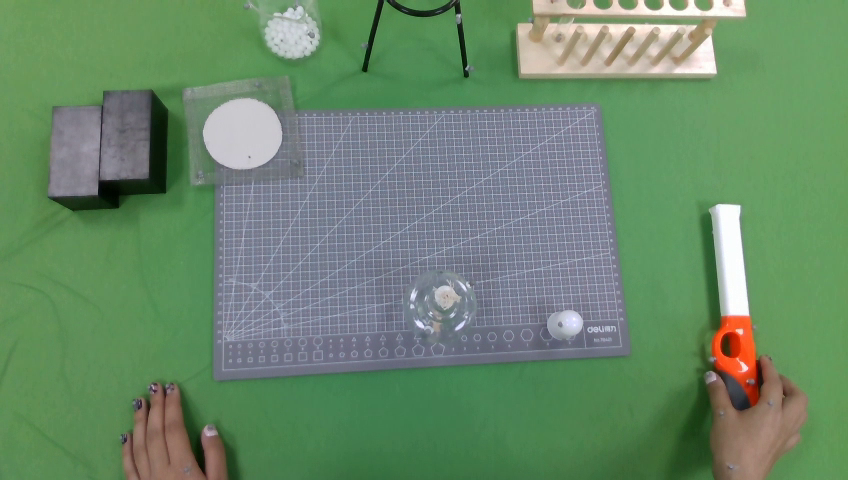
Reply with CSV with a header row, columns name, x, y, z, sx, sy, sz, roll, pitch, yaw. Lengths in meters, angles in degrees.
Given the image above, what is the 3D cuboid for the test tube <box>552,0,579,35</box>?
name,x,y,z,sx,sy,sz,roll,pitch,yaw
test tube,0.165,-0.271,0.657,0.017,0.151,0.017,1,74,-4

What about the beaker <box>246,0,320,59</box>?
name,x,y,z,sx,sy,sz,roll,pitch,yaw
beaker,-0.153,-0.253,0.673,0.074,0.100,0.083,-33,83,-9

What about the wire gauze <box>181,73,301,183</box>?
name,x,y,z,sx,sy,sz,roll,pitch,yaw
wire gauze,-0.209,-0.127,0.685,0.125,0.011,0.121,-8,78,-5

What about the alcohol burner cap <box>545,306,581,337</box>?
name,x,y,z,sx,sy,sz,roll,pitch,yaw
alcohol burner cap,0.152,0.087,0.653,0.034,0.048,0.033,1,77,-3

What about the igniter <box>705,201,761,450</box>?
name,x,y,z,sx,sy,sz,roll,pitch,yaw
igniter,0.342,0.091,0.677,0.057,0.025,0.275,2,78,-9

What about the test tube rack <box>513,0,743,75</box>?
name,x,y,z,sx,sy,sz,roll,pitch,yaw
test tube rack,0.234,-0.243,0.707,0.243,0.085,0.066,-1,78,-4

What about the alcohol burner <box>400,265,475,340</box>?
name,x,y,z,sx,sy,sz,roll,pitch,yaw
alcohol burner,0.015,0.060,0.612,0.078,0.119,0.077,1,76,-5

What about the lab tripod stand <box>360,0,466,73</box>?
name,x,y,z,sx,sy,sz,roll,pitch,yaw
lab tripod stand,-0.010,-0.255,0.667,0.148,0.132,0.147,1,77,-2
